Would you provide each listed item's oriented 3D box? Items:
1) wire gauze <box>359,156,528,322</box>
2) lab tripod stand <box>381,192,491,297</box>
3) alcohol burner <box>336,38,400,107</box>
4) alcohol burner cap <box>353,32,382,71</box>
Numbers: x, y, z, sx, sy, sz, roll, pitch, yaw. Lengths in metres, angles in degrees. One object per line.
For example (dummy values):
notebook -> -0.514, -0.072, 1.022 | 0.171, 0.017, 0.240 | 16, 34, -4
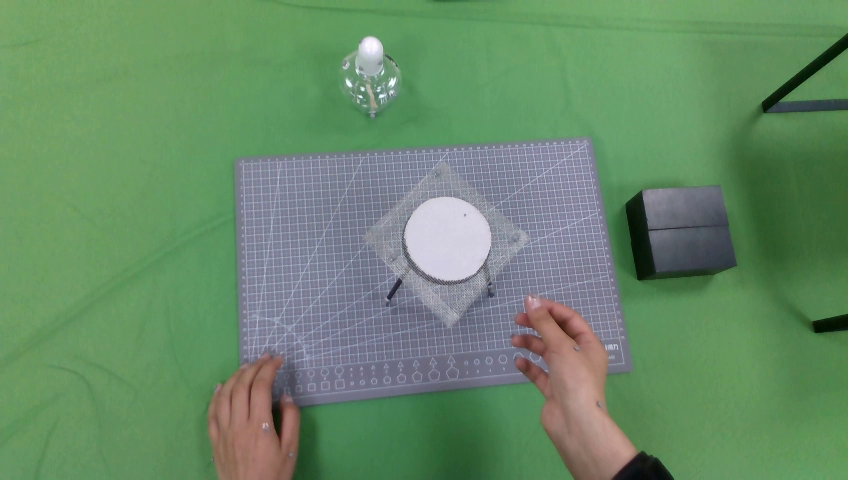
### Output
wire gauze -> 0.020, -0.005, 0.595 | 0.125, 0.011, 0.121 | 44, 76, 6
lab tripod stand -> 0.019, 0.012, 0.660 | 0.149, 0.132, 0.147 | 2, 74, -7
alcohol burner -> -0.066, -0.208, 0.720 | 0.078, 0.119, 0.077 | 2, 76, -7
alcohol burner cap -> -0.063, -0.216, 0.687 | 0.034, 0.048, 0.033 | 1, 81, -9
